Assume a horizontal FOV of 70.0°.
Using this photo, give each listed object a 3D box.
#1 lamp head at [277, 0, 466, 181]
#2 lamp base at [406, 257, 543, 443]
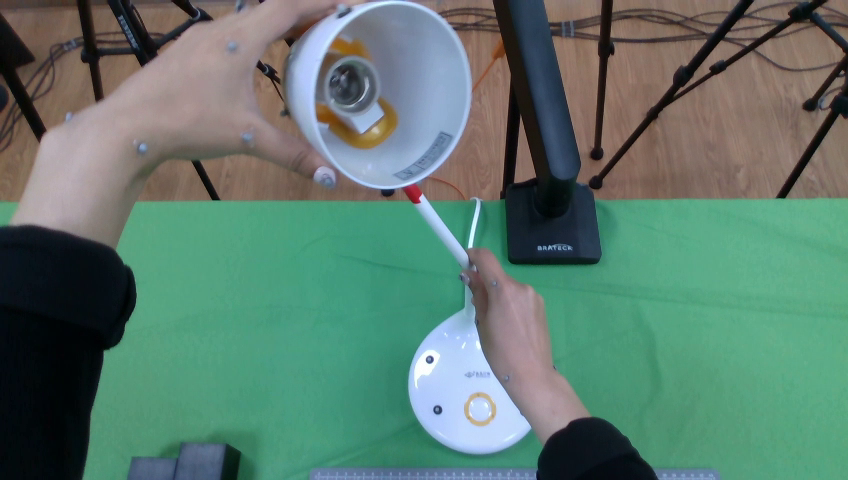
[{"bbox_3d":[-0.046,-0.104,0.412,0.112,0.113,0.121,-36,30,-16],"label":"lamp head"},{"bbox_3d":[0.053,0.109,0.651,0.161,0.182,0.177,-11,59,-3],"label":"lamp base"}]
